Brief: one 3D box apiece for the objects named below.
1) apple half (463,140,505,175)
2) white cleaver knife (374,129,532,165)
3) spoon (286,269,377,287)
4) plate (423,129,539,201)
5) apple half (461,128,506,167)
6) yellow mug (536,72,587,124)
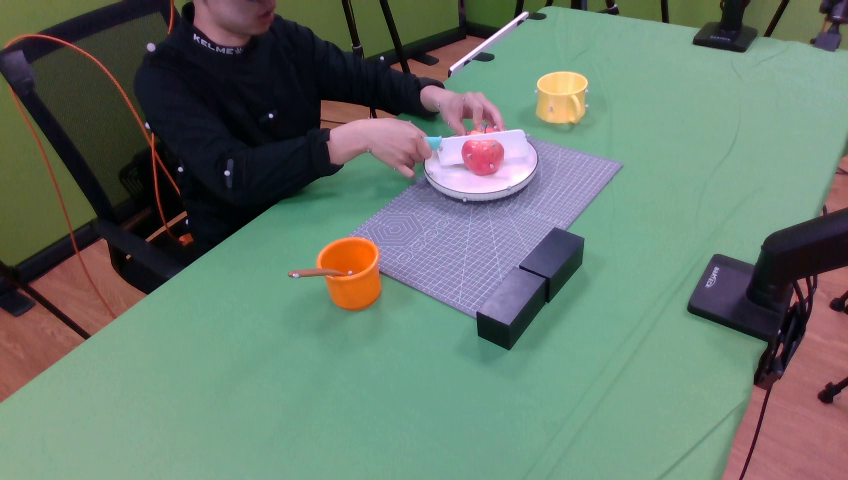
[{"bbox_3d":[0.103,-0.139,1.060,0.081,0.081,0.032,2,45,12],"label":"apple half"},{"bbox_3d":[0.046,-0.158,1.073,0.285,0.066,0.021,-1,42,16],"label":"white cleaver knife"},{"bbox_3d":[-0.125,0.049,0.831,0.041,0.195,0.021,22,92,28],"label":"spoon"},{"bbox_3d":[0.102,-0.132,1.092,0.209,0.038,0.208,-4,40,4],"label":"plate"},{"bbox_3d":[0.107,-0.164,1.083,0.081,0.075,0.053,-3,26,4],"label":"apple half"},{"bbox_3d":[0.284,-0.281,1.222,0.100,0.064,0.130,-16,42,-9],"label":"yellow mug"}]
